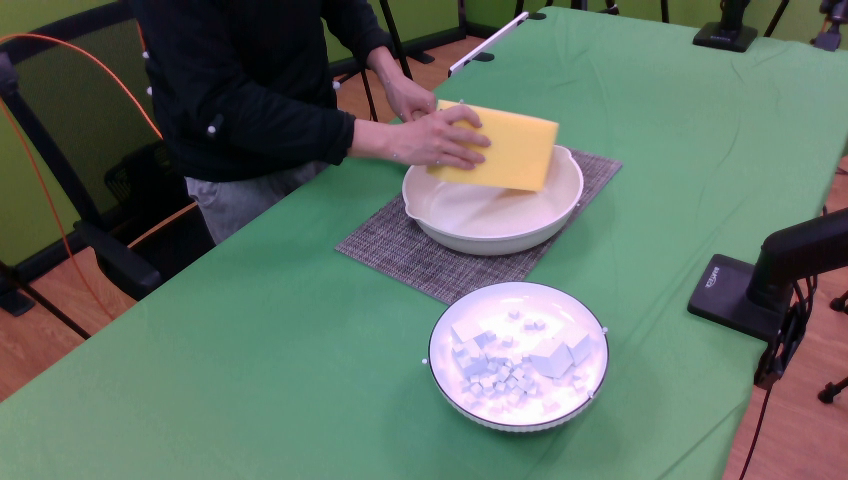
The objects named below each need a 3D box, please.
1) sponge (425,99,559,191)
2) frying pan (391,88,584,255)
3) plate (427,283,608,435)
[{"bbox_3d":[0.113,-0.151,0.981,0.208,0.118,0.060,3,17,-33],"label":"sponge"},{"bbox_3d":[0.063,-0.143,1.056,0.308,0.103,0.483,-22,51,-18],"label":"frying pan"},{"bbox_3d":[0.108,0.137,0.708,0.207,0.039,0.206,-4,42,4],"label":"plate"}]
